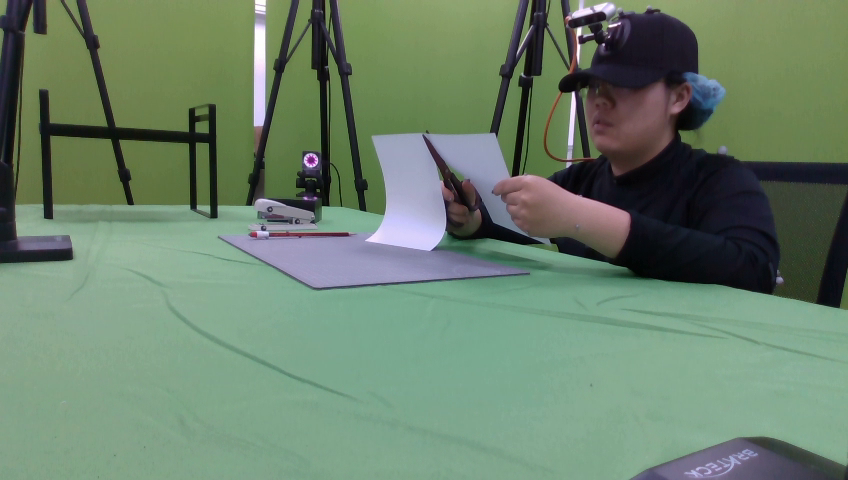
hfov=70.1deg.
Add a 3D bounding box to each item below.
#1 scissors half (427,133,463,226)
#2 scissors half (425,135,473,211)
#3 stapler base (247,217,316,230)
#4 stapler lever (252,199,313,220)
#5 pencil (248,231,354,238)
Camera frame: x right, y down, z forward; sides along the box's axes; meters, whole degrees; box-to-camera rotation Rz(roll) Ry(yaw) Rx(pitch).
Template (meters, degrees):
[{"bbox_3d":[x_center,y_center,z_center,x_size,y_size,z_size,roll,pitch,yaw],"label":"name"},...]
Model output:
[{"bbox_3d":[0.030,-0.093,0.963,0.013,0.175,0.040,9,42,36],"label":"scissors half"},{"bbox_3d":[0.041,-0.108,0.973,0.012,0.040,0.176,15,-24,39],"label":"scissors half"},{"bbox_3d":[-0.276,-0.033,1.172,0.131,0.024,0.041,0,10,-37],"label":"stapler base"},{"bbox_3d":[-0.273,-0.058,1.170,0.119,0.040,0.026,0,10,-37],"label":"stapler lever"},{"bbox_3d":[-0.206,-0.008,1.039,0.195,0.012,0.012,0,8,-36],"label":"pencil"}]
